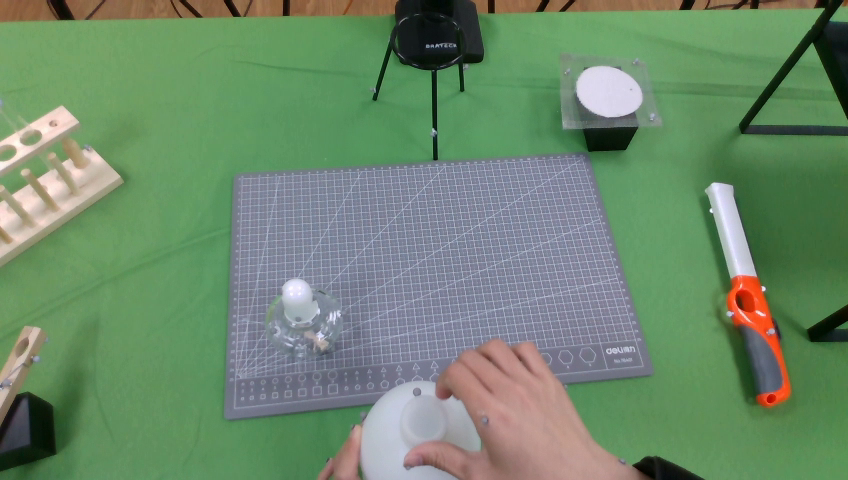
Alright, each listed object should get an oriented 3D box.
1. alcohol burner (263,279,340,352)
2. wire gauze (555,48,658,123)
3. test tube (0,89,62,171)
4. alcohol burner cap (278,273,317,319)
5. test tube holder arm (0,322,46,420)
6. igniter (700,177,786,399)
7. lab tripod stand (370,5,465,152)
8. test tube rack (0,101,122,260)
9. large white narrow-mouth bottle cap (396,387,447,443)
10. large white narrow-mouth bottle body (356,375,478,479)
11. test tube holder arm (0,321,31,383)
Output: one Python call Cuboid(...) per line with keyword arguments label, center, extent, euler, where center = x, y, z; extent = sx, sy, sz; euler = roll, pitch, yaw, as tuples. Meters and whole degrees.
Cuboid(label="alcohol burner", center=(-0.123, 0.068, 0.603), extent=(0.078, 0.120, 0.077), euler=(3, 60, -4))
Cuboid(label="wire gauze", center=(0.230, -0.198, 0.777), extent=(0.121, 0.011, 0.124), euler=(3, 61, -2))
Cuboid(label="test tube", center=(-0.430, -0.122, 0.646), extent=(0.017, 0.151, 0.017), euler=(0, 60, 0))
Cuboid(label="alcohol burner cap", center=(-0.121, 0.051, 0.571), extent=(0.034, 0.048, 0.033), euler=(0, 57, 0))
Cuboid(label="test tube holder arm", center=(-0.387, 0.157, 0.541), extent=(0.013, 0.015, 0.177), euler=(7, 62, 6))
Cuboid(label="igniter", center=(0.365, 0.046, 0.700), extent=(0.057, 0.025, 0.274), euler=(6, 61, -12))
Cuboid(label="lab tripod stand", center=(0.002, -0.204, 0.749), extent=(0.148, 0.132, 0.147), euler=(2, 62, -4))
Cuboid(label="test tube rack", center=(-0.467, -0.040, 0.656), extent=(0.066, 0.086, 0.242), euler=(41, 67, 17))
Cuboid(label="large white narrow-mouth bottle cap", center=(-0.002, 0.126, 0.437), extent=(0.038, 0.024, 0.037), euler=(2, 61, -3))
Cuboid(label="large white narrow-mouth bottle body", center=(-0.007, 0.170, 0.514), extent=(0.102, 0.196, 0.101), euler=(1, 61, -2))
Cuboid(label="test tube holder arm", center=(-0.385, 0.118, 0.563), extent=(0.010, 0.015, 0.087), euler=(6, 62, 6))
